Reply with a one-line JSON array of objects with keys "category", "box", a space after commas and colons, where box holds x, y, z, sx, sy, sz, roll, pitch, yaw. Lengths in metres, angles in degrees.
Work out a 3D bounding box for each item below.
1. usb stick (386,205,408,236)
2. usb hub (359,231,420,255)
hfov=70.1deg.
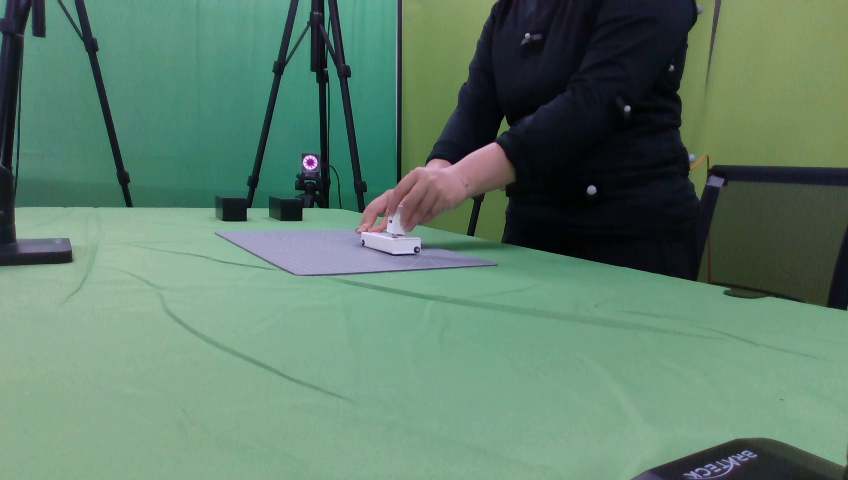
[{"category": "usb stick", "box": [-0.042, -0.023, 0.936, 0.027, 0.059, 0.021, -1, 10, -33]}, {"category": "usb hub", "box": [-0.057, 0.004, 0.953, 0.050, 0.025, 0.124, -2, 7, -29]}]
